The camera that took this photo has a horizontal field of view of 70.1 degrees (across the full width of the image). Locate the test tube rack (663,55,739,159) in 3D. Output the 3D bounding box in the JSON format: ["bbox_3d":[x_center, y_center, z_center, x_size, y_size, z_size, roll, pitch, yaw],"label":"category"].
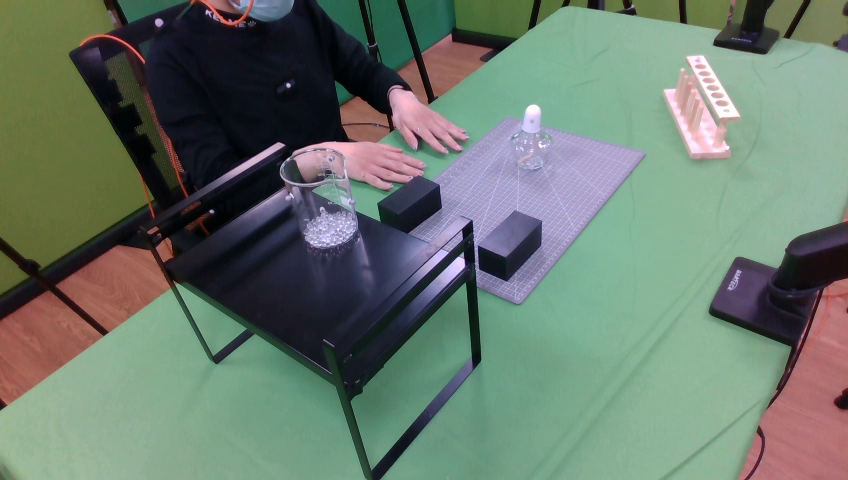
[{"bbox_3d":[0.518,-0.256,1.144,0.066,0.085,0.241,-1,41,8],"label":"test tube rack"}]

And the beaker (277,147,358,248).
[{"bbox_3d":[-0.117,-0.046,0.705,0.083,0.101,0.074,17,47,25],"label":"beaker"}]

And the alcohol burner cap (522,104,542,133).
[{"bbox_3d":[0.191,-0.217,1.065,0.034,0.048,0.033,0,39,0],"label":"alcohol burner cap"}]

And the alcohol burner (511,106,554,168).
[{"bbox_3d":[0.195,-0.190,1.088,0.078,0.119,0.077,-3,42,3],"label":"alcohol burner"}]
